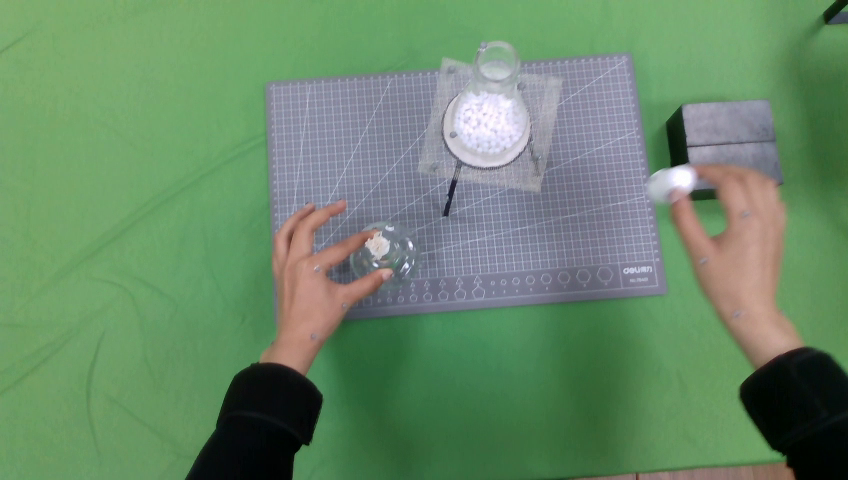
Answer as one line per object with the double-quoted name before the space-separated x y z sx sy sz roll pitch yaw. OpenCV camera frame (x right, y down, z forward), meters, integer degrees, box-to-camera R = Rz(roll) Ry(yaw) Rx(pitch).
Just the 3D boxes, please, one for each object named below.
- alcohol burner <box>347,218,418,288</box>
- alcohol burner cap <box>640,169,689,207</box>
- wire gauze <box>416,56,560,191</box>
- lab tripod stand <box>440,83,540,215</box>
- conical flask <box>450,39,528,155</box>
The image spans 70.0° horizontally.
"alcohol burner" -0.046 0.012 0.647 0.078 0.119 0.077 0 81 2
"alcohol burner cap" 0.225 -0.050 0.562 0.034 0.048 0.034 0 86 -5
"wire gauze" 0.064 -0.114 0.592 0.121 0.011 0.124 13 78 2
"lab tripod stand" 0.060 -0.103 0.657 0.148 0.132 0.147 0 79 3
"conical flask" 0.060 -0.129 0.535 0.075 0.122 0.075 0 78 2
